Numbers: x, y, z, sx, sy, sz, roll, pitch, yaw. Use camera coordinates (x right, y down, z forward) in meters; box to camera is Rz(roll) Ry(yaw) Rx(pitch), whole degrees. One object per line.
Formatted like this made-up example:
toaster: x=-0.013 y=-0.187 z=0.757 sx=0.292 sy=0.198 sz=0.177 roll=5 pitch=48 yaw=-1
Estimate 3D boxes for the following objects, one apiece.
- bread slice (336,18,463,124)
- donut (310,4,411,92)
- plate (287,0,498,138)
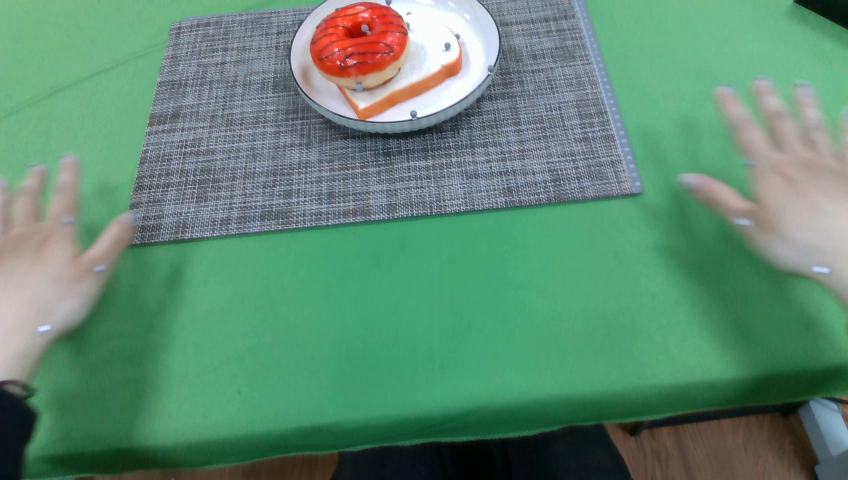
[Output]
bread slice: x=-0.030 y=-0.179 z=0.612 sx=0.131 sy=0.019 sz=0.104 roll=-28 pitch=60 yaw=-12
donut: x=-0.061 y=-0.185 z=0.582 sx=0.099 sy=0.049 sz=0.098 roll=-3 pitch=60 yaw=6
plate: x=-0.030 y=-0.177 z=0.608 sx=0.207 sy=0.039 sz=0.205 roll=-2 pitch=58 yaw=3
